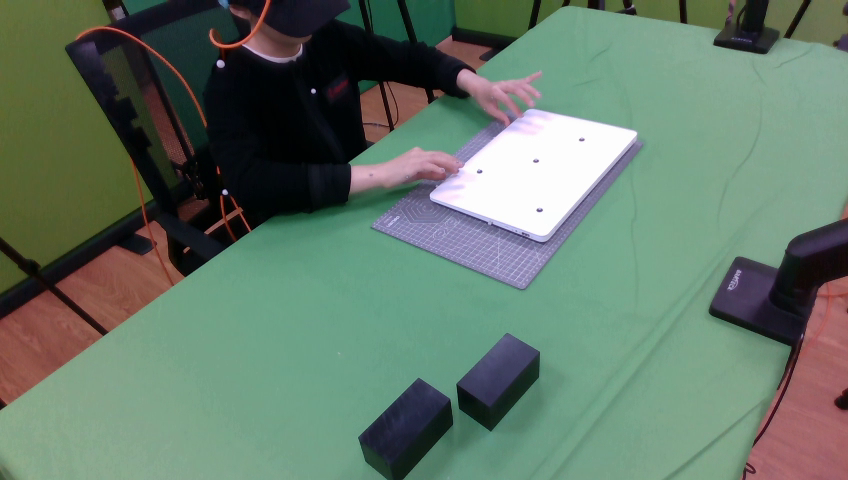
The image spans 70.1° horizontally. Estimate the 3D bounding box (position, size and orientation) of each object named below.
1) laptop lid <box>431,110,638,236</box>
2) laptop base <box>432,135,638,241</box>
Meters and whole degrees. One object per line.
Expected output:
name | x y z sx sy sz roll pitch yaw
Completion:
laptop lid | 0.205 -0.138 1.092 0.239 0.013 0.358 23 49 34
laptop base | 0.208 -0.129 1.098 0.233 0.023 0.355 20 47 34
